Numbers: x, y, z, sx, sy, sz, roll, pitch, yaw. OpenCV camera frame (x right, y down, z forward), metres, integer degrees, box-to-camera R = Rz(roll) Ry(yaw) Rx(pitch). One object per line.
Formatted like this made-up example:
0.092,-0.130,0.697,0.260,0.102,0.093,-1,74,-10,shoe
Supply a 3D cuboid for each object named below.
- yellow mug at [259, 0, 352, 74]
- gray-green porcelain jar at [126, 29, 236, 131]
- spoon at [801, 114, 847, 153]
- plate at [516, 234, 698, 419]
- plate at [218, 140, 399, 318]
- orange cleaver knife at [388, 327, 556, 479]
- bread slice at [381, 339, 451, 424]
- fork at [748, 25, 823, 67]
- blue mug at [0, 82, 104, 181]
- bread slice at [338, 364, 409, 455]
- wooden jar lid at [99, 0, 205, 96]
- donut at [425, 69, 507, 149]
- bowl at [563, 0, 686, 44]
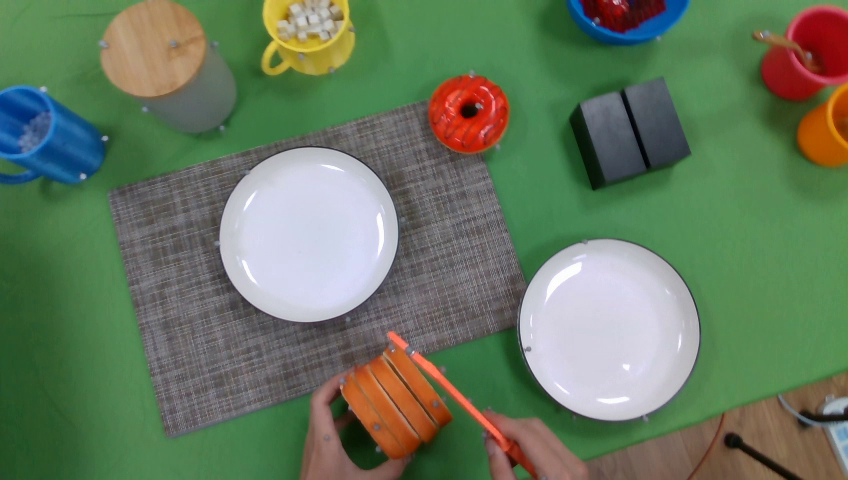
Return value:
-0.151,-0.252,0.733,0.100,0.064,0.131,41,84,5,yellow mug
-0.281,-0.189,0.693,0.106,0.127,0.105,0,81,0,gray-green porcelain jar
0.534,-0.153,0.686,0.022,0.193,0.041,-13,78,-47,spoon
0.208,0.099,0.703,0.209,0.038,0.208,0,82,0,plate
-0.132,-0.012,0.711,0.208,0.039,0.207,0,82,0,plate
0.044,0.148,0.530,0.012,0.076,0.213,-47,116,-10,orange cleaver knife
-0.008,0.152,0.643,0.018,0.134,0.107,-38,86,-10,bread slice
0.418,-0.223,0.695,0.208,0.018,0.028,-3,80,-43,fork
-0.445,-0.110,0.690,0.116,0.106,0.082,-42,84,-6,blue mug
-0.054,0.179,0.641,0.019,0.132,0.104,-39,85,-7,bread slice
-0.281,-0.199,0.631,0.108,0.021,0.108,0,80,1,wooden jar lid
0.050,-0.157,0.729,0.099,0.048,0.098,0,83,-1,donut
0.233,-0.300,0.738,0.151,0.077,0.151,0,82,0,bowl
